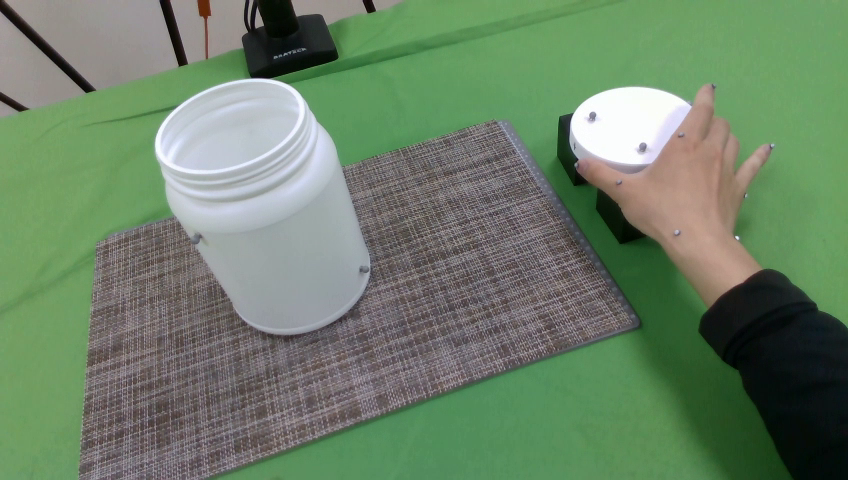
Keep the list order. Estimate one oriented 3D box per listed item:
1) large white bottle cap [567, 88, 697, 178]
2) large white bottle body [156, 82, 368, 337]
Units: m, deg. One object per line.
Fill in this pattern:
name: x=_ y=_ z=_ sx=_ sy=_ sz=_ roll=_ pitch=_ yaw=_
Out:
large white bottle cap: x=0.191 y=-0.101 z=0.560 sx=0.115 sy=0.018 sz=0.113 roll=-5 pitch=48 yaw=6
large white bottle body: x=-0.125 y=-0.021 z=0.495 sx=0.130 sy=0.186 sz=0.129 roll=-5 pitch=48 yaw=6
